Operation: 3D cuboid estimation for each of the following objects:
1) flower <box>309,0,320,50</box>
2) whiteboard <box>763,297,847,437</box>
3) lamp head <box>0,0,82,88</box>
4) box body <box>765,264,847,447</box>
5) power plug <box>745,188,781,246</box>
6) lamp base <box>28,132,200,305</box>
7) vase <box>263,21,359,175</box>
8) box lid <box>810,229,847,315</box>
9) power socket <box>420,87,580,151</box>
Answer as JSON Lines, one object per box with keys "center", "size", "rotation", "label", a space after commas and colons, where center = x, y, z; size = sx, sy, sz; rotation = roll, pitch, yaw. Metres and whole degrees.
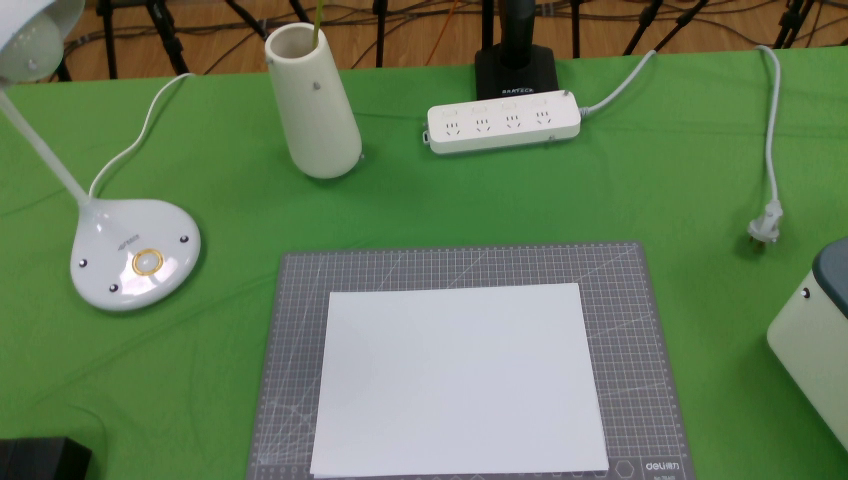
{"center": [-0.129, -0.212, 0.695], "size": [0.038, 0.363, 0.044], "rotation": [46, 61, 9], "label": "flower"}
{"center": [0.531, 0.143, 0.556], "size": [0.217, 0.145, 0.302], "rotation": [-19, 58, -12], "label": "whiteboard"}
{"center": [-0.350, -0.191, 0.461], "size": [0.123, 0.112, 0.112], "rotation": [39, 61, -17], "label": "lamp head"}
{"center": [0.531, 0.147, 0.539], "size": [0.254, 0.162, 0.360], "rotation": [-20, 58, -9], "label": "box body"}
{"center": [0.414, -0.025, 0.732], "size": [0.035, 0.053, 0.072], "rotation": [37, 46, 28], "label": "power plug"}
{"center": [-0.381, -0.037, 0.709], "size": [0.178, 0.182, 0.160], "rotation": [27, 62, 23], "label": "lamp base"}
{"center": [-0.144, -0.173, 0.769], "size": [0.098, 0.202, 0.097], "rotation": [-2, 57, 4], "label": "vase"}
{"center": [0.526, 0.104, 0.477], "size": [0.263, 0.015, 0.367], "rotation": [-20, 58, -8], "label": "box lid"}
{"center": [0.107, -0.170, 0.849], "size": [0.227, 0.033, 0.071], "rotation": [-6, 58, -1], "label": "power socket"}
